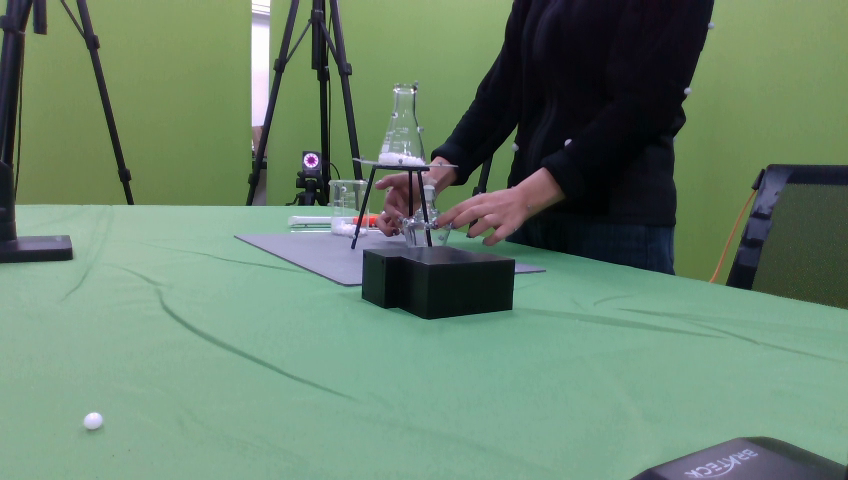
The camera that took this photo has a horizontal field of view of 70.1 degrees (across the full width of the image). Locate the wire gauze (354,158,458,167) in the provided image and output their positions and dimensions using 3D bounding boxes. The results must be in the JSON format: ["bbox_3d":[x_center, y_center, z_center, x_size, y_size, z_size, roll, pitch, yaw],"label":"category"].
[{"bbox_3d":[-0.029,-0.117,0.927,0.122,0.011,0.124,0,5,-36],"label":"wire gauze"}]

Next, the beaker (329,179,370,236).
[{"bbox_3d":[-0.137,-0.061,1.101,0.084,0.100,0.074,4,7,20],"label":"beaker"}]

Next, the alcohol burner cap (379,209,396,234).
[{"bbox_3d":[-0.069,-0.036,1.154,0.034,0.048,0.034,2,8,0],"label":"alcohol burner cap"}]

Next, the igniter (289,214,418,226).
[{"bbox_3d":[-0.141,-0.042,1.258,0.278,0.025,0.057,-1,-1,-30],"label":"igniter"}]

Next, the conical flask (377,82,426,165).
[{"bbox_3d":[-0.032,-0.175,0.918,0.075,0.122,0.075,3,8,0],"label":"conical flask"}]

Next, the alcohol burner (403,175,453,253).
[{"bbox_3d":[0.006,-0.040,0.932,0.078,0.119,0.078,1,8,0],"label":"alcohol burner"}]

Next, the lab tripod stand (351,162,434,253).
[{"bbox_3d":[-0.034,-0.052,0.933,0.148,0.131,0.148,4,7,0],"label":"lab tripod stand"}]

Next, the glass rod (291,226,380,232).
[{"bbox_3d":[-0.161,-0.022,1.177,0.201,0.008,0.008,-2,8,-28],"label":"glass rod"}]
